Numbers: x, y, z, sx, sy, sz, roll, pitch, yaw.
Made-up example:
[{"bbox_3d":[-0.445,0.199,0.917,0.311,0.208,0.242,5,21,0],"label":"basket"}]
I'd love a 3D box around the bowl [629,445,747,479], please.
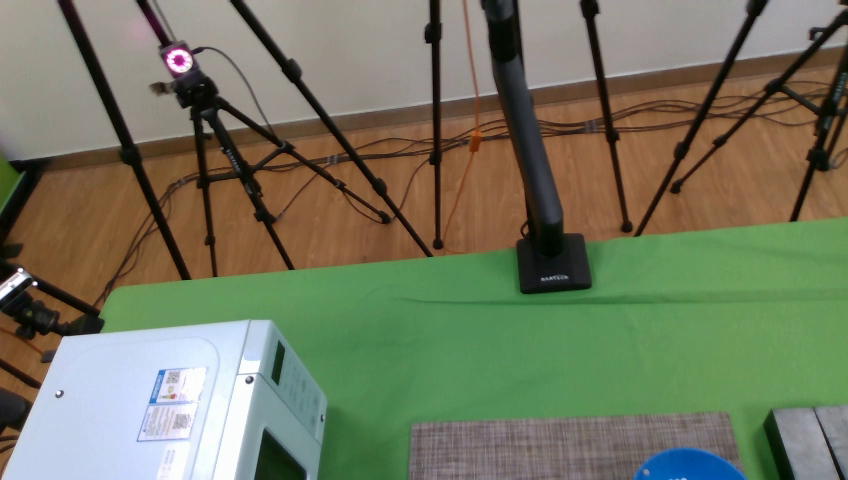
[{"bbox_3d":[0.320,0.336,0.734,0.151,0.077,0.150,-7,50,9],"label":"bowl"}]

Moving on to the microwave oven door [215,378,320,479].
[{"bbox_3d":[-0.193,0.373,0.702,0.039,0.246,0.352,-7,50,9],"label":"microwave oven door"}]

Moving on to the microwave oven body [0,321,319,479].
[{"bbox_3d":[-0.335,0.361,0.754,0.326,0.263,0.437,-6,51,8],"label":"microwave oven body"}]

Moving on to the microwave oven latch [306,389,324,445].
[{"bbox_3d":[-0.169,0.268,0.917,0.030,0.030,0.078,-6,51,8],"label":"microwave oven latch"}]
